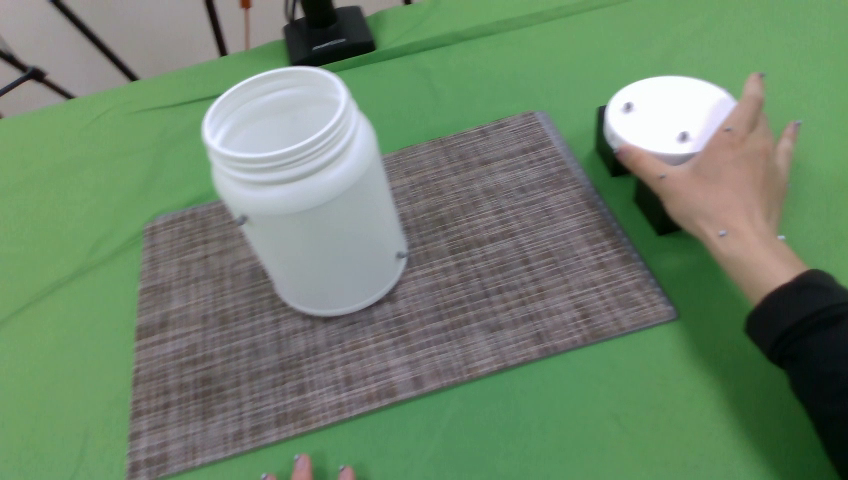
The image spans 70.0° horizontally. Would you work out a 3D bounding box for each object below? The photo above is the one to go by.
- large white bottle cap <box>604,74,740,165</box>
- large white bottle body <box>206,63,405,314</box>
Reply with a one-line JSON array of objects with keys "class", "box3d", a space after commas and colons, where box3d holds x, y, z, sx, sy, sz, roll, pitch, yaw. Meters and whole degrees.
[{"class": "large white bottle cap", "box3d": [0.223, -0.112, 0.549, 0.115, 0.018, 0.113, -6, 48, 7]}, {"class": "large white bottle body", "box3d": [-0.093, -0.039, 0.508, 0.130, 0.186, 0.129, -5, 49, 7]}]
